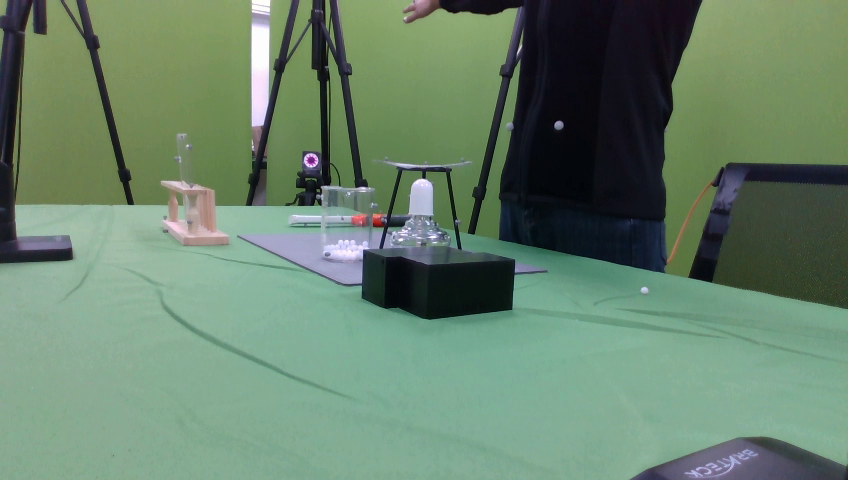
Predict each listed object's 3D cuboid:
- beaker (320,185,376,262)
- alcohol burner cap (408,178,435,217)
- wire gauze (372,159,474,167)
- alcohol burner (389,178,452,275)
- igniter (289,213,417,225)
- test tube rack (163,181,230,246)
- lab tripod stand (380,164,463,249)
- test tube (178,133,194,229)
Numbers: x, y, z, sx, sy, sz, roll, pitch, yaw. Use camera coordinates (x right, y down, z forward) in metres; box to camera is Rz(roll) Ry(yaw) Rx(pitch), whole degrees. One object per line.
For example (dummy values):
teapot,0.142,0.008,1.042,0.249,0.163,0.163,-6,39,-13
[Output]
beaker,-0.105,-0.024,0.826,0.074,0.100,0.084,2,7,-7
alcohol burner cap,-0.003,-0.053,0.746,0.034,0.048,0.034,3,4,0
wire gauze,-0.004,-0.122,0.959,0.122,0.011,0.124,-4,9,-33
alcohol burner,-0.004,-0.017,0.749,0.078,0.119,0.078,1,9,0
igniter,-0.144,-0.044,1.275,0.278,0.025,0.057,-1,-1,-27
test tube rack,-0.387,-0.050,1.015,0.067,0.085,0.241,-2,9,-30
lab tripod stand,-0.003,-0.055,0.967,0.148,0.131,0.148,2,9,0
test tube,-0.367,-0.090,0.939,0.017,0.150,0.017,-2,8,1
